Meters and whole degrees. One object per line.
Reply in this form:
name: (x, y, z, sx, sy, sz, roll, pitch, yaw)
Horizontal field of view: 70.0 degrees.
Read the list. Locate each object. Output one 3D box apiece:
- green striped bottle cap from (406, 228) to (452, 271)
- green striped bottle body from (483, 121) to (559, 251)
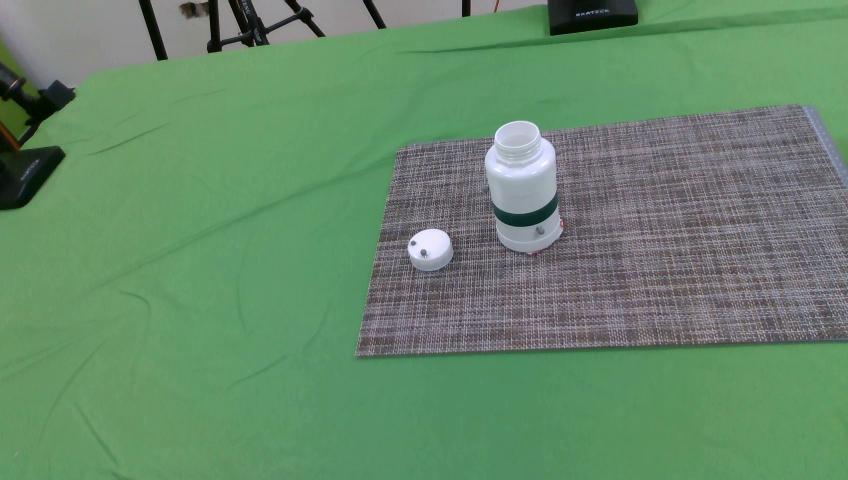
green striped bottle cap: (0.005, 0.009, 0.602, 0.044, 0.020, 0.044, -5, 46, 6)
green striped bottle body: (0.090, -0.050, 0.559, 0.063, 0.120, 0.062, -8, 45, 9)
